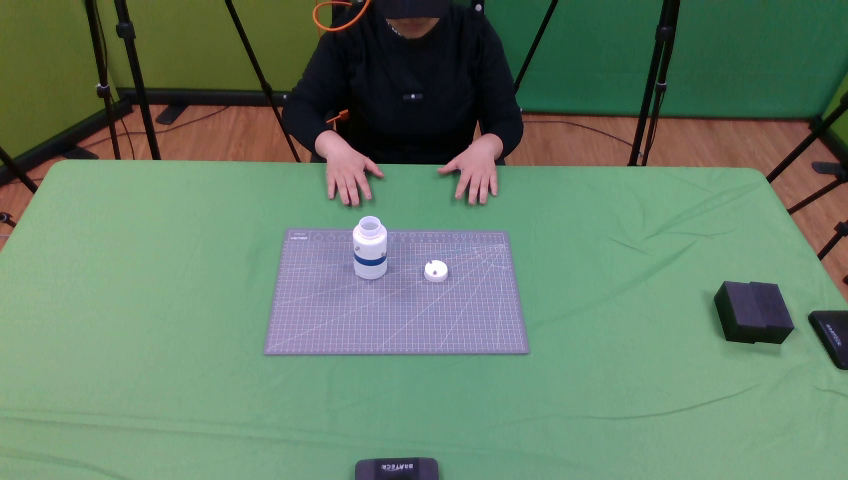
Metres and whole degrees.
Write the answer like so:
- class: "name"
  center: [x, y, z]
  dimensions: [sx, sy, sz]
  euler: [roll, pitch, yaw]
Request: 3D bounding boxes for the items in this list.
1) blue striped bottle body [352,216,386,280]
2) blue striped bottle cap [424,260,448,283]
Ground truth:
- class: "blue striped bottle body"
  center: [-0.100, 0.012, 1.107]
  dimensions: [0.063, 0.121, 0.062]
  euler: [2, 46, -2]
- class: "blue striped bottle cap"
  center: [0.022, 0.059, 1.145]
  dimensions: [0.044, 0.021, 0.044]
  euler: [2, 47, -1]
